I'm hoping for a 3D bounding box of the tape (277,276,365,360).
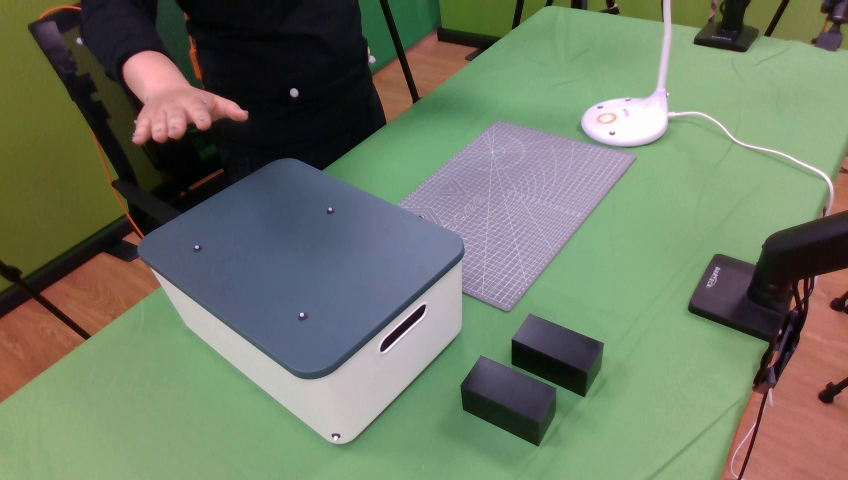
[{"bbox_3d":[-0.140,0.106,0.832,0.117,0.053,0.116,-4,41,4],"label":"tape"}]

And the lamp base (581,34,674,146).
[{"bbox_3d":[0.392,-0.291,1.129,0.180,0.181,0.159,-11,41,-8],"label":"lamp base"}]

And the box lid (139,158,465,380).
[{"bbox_3d":[-0.158,0.010,0.757,0.368,0.015,0.264,26,50,33],"label":"box lid"}]

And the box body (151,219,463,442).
[{"bbox_3d":[-0.152,0.064,0.807,0.361,0.161,0.255,26,51,33],"label":"box body"}]
